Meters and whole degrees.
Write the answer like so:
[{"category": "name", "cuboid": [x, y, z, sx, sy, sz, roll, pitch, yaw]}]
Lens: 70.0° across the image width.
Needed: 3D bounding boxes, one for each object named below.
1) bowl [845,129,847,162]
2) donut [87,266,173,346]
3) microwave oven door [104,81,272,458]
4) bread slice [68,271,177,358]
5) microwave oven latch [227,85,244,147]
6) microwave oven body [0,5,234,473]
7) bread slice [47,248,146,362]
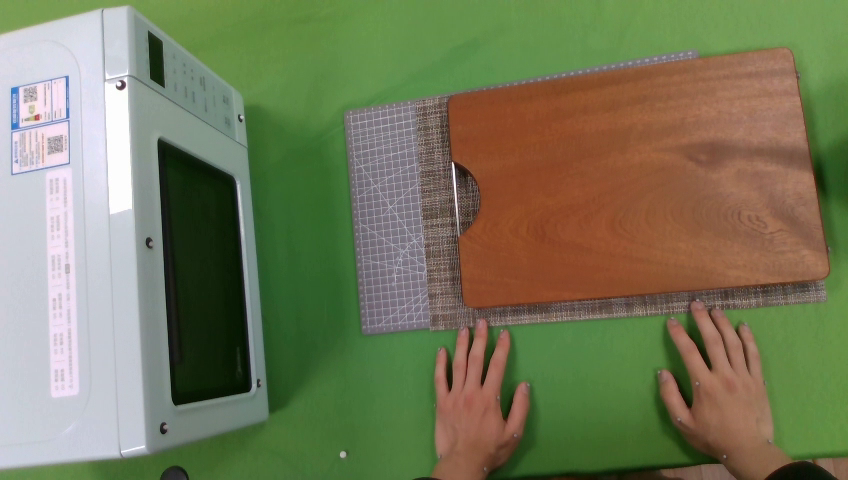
[{"category": "bowl", "cuboid": [0.517, -0.095, 0.639, 0.151, 0.077, 0.151, -2, 82, 11]}, {"category": "donut", "cuboid": [-0.352, 0.079, 0.725, 0.099, 0.048, 0.099, 0, 98, -1]}, {"category": "microwave oven door", "cuboid": [-0.253, 0.036, 0.671, 0.039, 0.245, 0.354, -10, 80, 10]}, {"category": "bread slice", "cuboid": [-0.379, 0.091, 0.757, 0.131, 0.019, 0.105, 4, 89, 3]}, {"category": "microwave oven latch", "cuboid": [-0.260, -0.163, 0.804, 0.030, 0.029, 0.079, -9, 81, 9]}, {"category": "microwave oven body", "cuboid": [-0.399, 0.020, 0.707, 0.325, 0.261, 0.440, -10, 81, 9]}, {"category": "bread slice", "cuboid": [-0.370, 0.082, 0.679, 0.134, 0.018, 0.106, -23, 81, 22]}]
